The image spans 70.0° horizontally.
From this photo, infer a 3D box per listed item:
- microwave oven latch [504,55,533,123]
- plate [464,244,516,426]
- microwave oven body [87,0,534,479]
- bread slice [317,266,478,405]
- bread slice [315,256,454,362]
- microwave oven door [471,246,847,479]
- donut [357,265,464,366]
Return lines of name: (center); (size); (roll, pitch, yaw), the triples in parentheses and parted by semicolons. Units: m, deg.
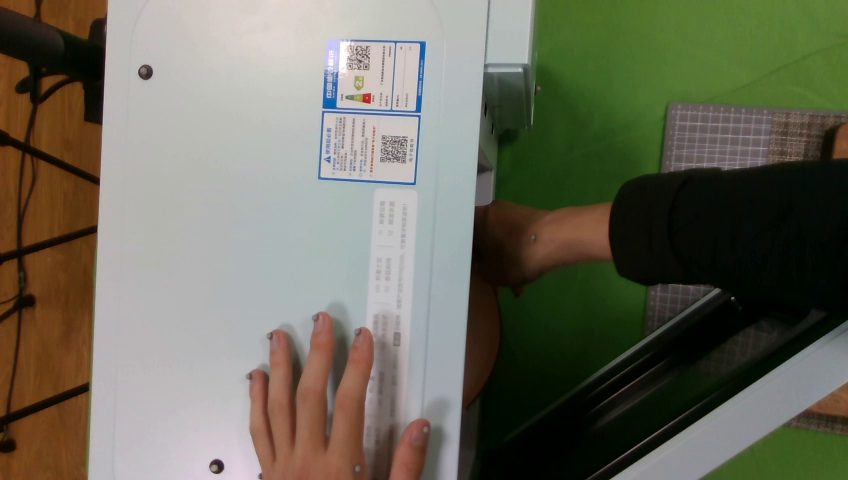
microwave oven latch: (0.092, -0.156, 0.593); (0.030, 0.029, 0.079); (4, 93, 9)
plate: (-0.018, 0.084, 0.571); (0.207, 0.039, 0.207); (0, 93, 8)
microwave oven body: (-0.082, 0.012, 0.530); (0.325, 0.260, 0.441); (4, 93, 9)
bread slice: (-0.026, 0.088, 0.506); (0.134, 0.018, 0.107); (-17, 92, 22)
bread slice: (-0.040, 0.067, 0.592); (0.132, 0.019, 0.105); (4, 103, -5)
microwave oven door: (0.180, 0.129, 0.484); (0.356, 0.244, 0.039); (-39, 84, 9)
donut: (-0.013, 0.069, 0.551); (0.099, 0.048, 0.099); (0, 113, 0)
